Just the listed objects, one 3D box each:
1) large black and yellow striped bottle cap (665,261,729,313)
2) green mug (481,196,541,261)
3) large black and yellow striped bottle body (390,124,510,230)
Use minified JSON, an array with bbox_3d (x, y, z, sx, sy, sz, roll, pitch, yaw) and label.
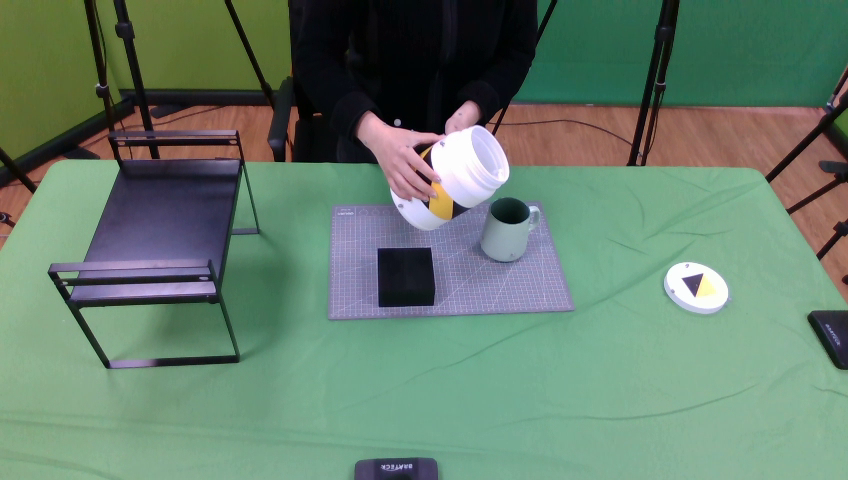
[{"bbox_3d":[0.518,0.087,1.152,0.115,0.019,0.114,2,47,-2],"label":"large black and yellow striped bottle cap"},{"bbox_3d":[0.174,-0.027,1.173,0.125,0.105,0.092,-22,51,-23],"label":"green mug"},{"bbox_3d":[0.046,-0.110,1.060,0.131,0.184,0.130,31,44,-36],"label":"large black and yellow striped bottle body"}]
